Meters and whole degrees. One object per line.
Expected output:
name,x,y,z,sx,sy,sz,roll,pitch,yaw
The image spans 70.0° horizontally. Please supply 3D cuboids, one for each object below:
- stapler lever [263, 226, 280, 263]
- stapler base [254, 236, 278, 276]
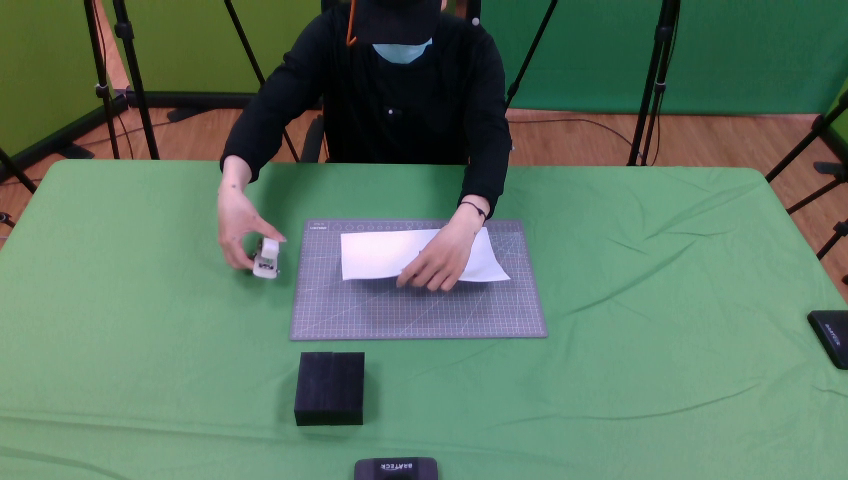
stapler lever,-0.278,0.001,1.101,0.027,0.040,0.117,16,23,-21
stapler base,-0.286,0.022,1.109,0.041,0.024,0.130,16,22,-21
